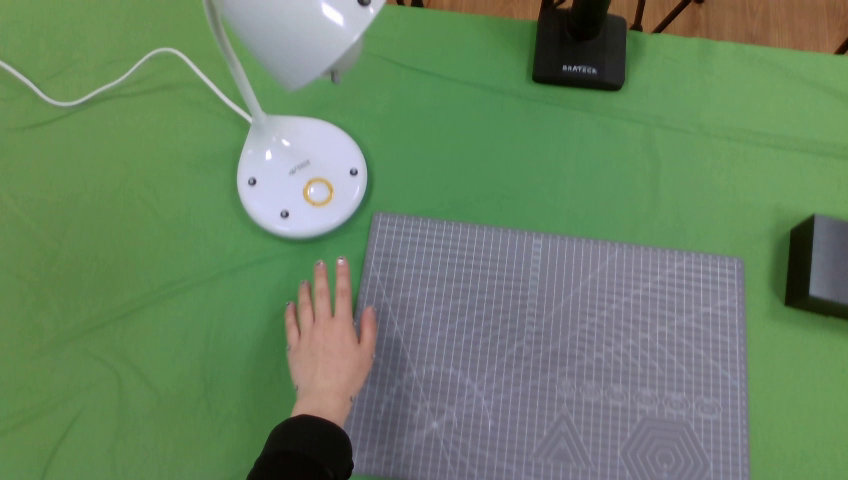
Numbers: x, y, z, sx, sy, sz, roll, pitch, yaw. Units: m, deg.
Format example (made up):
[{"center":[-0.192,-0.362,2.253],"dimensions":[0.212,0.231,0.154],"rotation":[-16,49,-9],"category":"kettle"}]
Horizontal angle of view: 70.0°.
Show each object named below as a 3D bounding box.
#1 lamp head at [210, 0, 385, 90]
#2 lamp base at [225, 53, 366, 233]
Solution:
[{"center":[-0.102,-0.182,0.410],"dimensions":[0.124,0.111,0.112],"rotation":[40,72,-27],"category":"lamp head"},{"center":[-0.164,-0.117,0.685],"dimensions":[0.178,0.181,0.160],"rotation":[40,76,16],"category":"lamp base"}]
